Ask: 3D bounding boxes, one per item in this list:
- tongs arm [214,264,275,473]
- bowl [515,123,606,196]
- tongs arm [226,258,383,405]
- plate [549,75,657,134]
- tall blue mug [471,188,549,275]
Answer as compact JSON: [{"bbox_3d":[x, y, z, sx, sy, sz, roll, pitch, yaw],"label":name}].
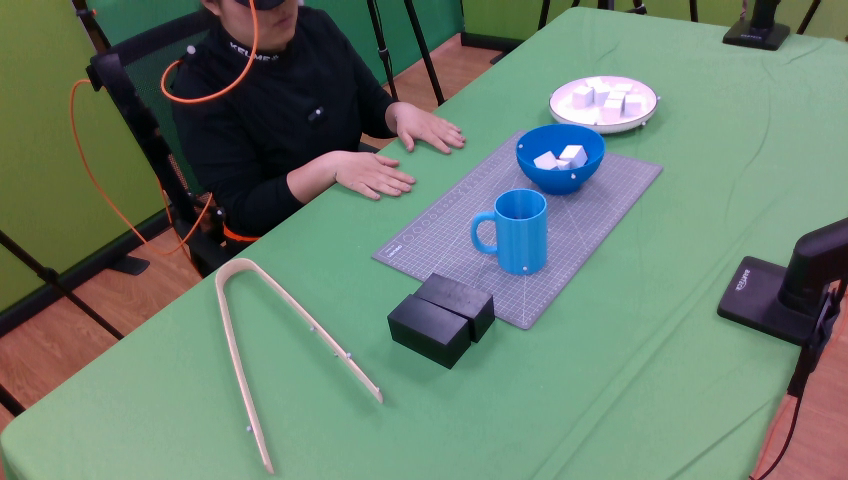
[{"bbox_3d":[-0.252,0.158,0.837,0.028,0.028,0.384,-27,42,-9],"label":"tongs arm"},{"bbox_3d":[0.235,-0.131,1.045,0.151,0.077,0.150,-5,40,5],"label":"bowl"},{"bbox_3d":[-0.185,0.121,0.863,0.051,0.027,0.381,-34,45,-20],"label":"tongs arm"},{"bbox_3d":[0.357,-0.269,1.220,0.209,0.038,0.208,-5,41,5],"label":"plate"},{"bbox_3d":[0.131,-0.007,0.894,0.107,0.108,0.077,-20,42,-12],"label":"tall blue mug"}]
